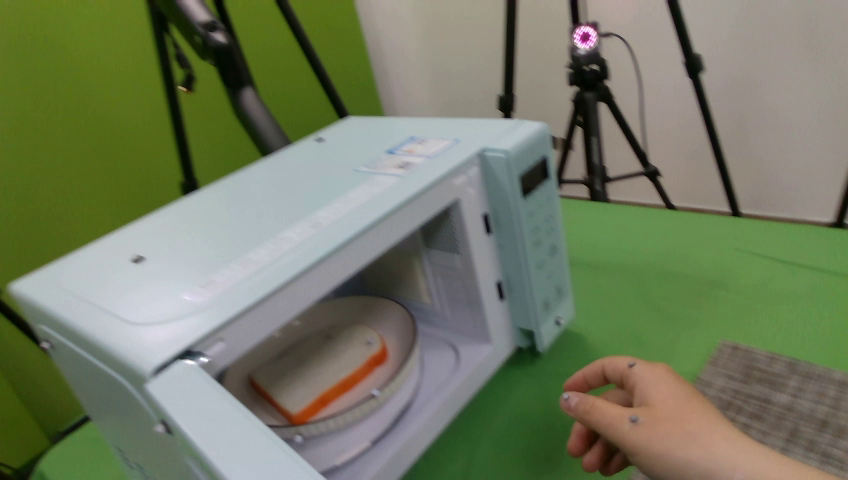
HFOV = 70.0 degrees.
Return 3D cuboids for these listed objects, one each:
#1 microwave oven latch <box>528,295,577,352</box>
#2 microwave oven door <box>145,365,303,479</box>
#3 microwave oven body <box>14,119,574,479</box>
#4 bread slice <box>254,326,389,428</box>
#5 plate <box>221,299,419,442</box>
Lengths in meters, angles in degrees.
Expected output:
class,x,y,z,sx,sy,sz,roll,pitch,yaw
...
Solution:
class,x,y,z,sx,sy,sz,roll,pitch,yaw
microwave oven latch,0.146,0.093,0.694,0.030,0.030,0.079,12,36,41
microwave oven door,-0.014,0.216,0.286,0.039,0.246,0.352,-32,31,-32
microwave oven body,-0.097,0.071,0.636,0.323,0.262,0.441,11,36,40
bread slice,-0.104,0.137,0.636,0.131,0.019,0.104,-34,33,-29
plate,-0.103,0.134,0.631,0.209,0.038,0.207,-12,26,6
